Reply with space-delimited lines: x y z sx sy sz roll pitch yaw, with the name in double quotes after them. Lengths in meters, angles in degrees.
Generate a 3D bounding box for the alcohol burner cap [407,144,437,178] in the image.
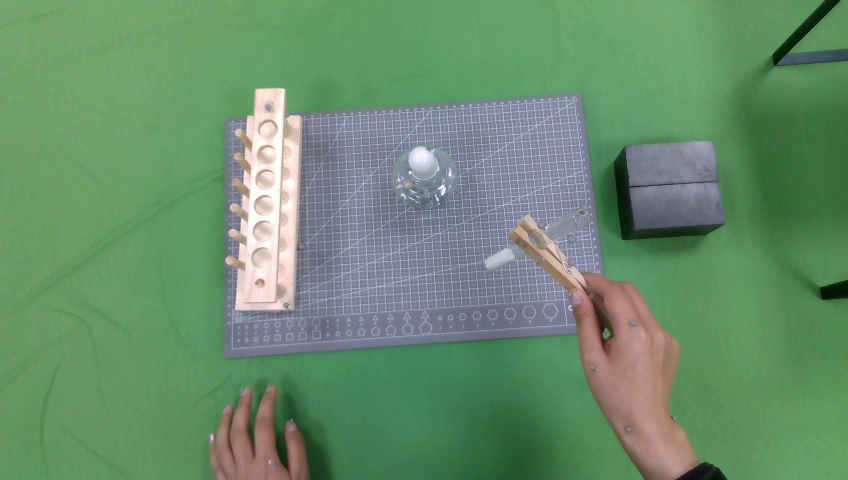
-0.004 -0.087 0.652 0.034 0.048 0.034 0 83 3 "alcohol burner cap"

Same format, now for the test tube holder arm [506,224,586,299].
0.106 0.020 0.520 0.088 0.015 0.010 41 65 -9 "test tube holder arm"

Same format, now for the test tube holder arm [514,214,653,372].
0.141 0.048 0.528 0.179 0.015 0.013 48 65 -6 "test tube holder arm"

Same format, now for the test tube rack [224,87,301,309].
-0.189 -0.046 0.698 0.067 0.085 0.241 0 78 2 "test tube rack"

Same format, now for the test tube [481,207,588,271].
0.090 0.003 0.525 0.017 0.150 0.017 8 70 -23 "test tube"

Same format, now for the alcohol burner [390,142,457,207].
-0.002 -0.079 0.687 0.078 0.119 0.077 0 79 2 "alcohol burner"
